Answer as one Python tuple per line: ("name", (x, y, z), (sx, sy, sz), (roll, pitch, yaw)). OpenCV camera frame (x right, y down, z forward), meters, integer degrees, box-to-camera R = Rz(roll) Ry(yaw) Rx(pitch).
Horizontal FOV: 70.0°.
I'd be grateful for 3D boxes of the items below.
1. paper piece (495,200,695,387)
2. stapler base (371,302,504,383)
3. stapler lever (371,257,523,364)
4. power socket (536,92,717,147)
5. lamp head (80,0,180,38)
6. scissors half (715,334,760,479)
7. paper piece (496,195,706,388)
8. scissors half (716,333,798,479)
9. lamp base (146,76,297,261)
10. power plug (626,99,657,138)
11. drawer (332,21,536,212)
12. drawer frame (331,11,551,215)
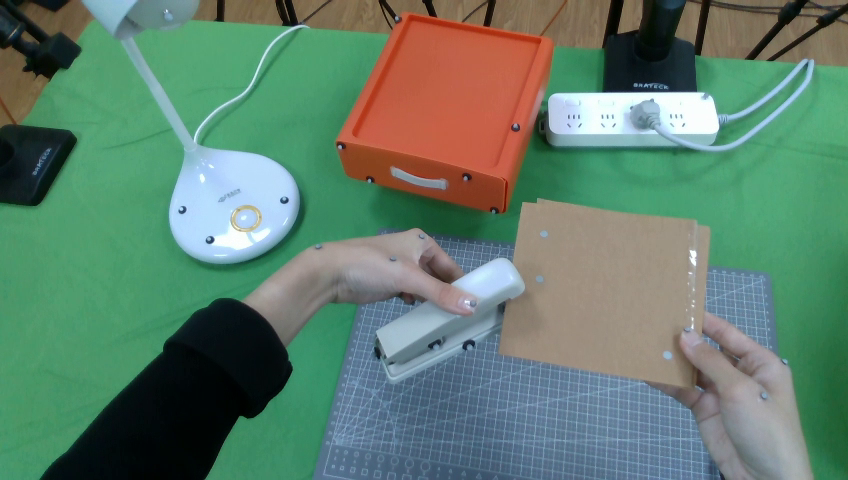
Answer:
("paper piece", (0.131, 0.033, 0.457), (0.135, 0.009, 0.137), (7, 64, 13))
("stapler base", (0.022, 0.061, 0.463), (0.130, 0.025, 0.041), (-26, 58, -4))
("stapler lever", (0.016, 0.050, 0.441), (0.118, 0.040, 0.026), (-25, 57, -5))
("power socket", (0.260, -0.156, 0.781), (0.226, 0.033, 0.071), (2, 61, 5))
("lamp head", (-0.226, -0.226, 0.436), (0.123, 0.112, 0.112), (46, 67, -15))
("scissors half", (0.302, 0.172, 0.596), (0.040, 0.013, 0.173), (10, 57, 0))
("paper piece", (0.138, 0.033, 0.468), (0.135, 0.004, 0.135), (14, 64, 19))
("scissors half", (0.322, 0.172, 0.597), (0.040, 0.013, 0.173), (-7, 59, -5))
("lamp base", (-0.253, -0.091, 0.695), (0.177, 0.182, 0.160), (38, 69, 26))
("power plug", (0.266, -0.142, 0.746), (0.035, 0.053, 0.072), (11, 62, 10))
("drawer", (0.025, -0.153, 0.718), (0.194, 0.074, 0.210), (15, 61, 13))
("drawer frame", (0.025, -0.157, 0.723), (0.201, 0.083, 0.212), (15, 63, 13))
